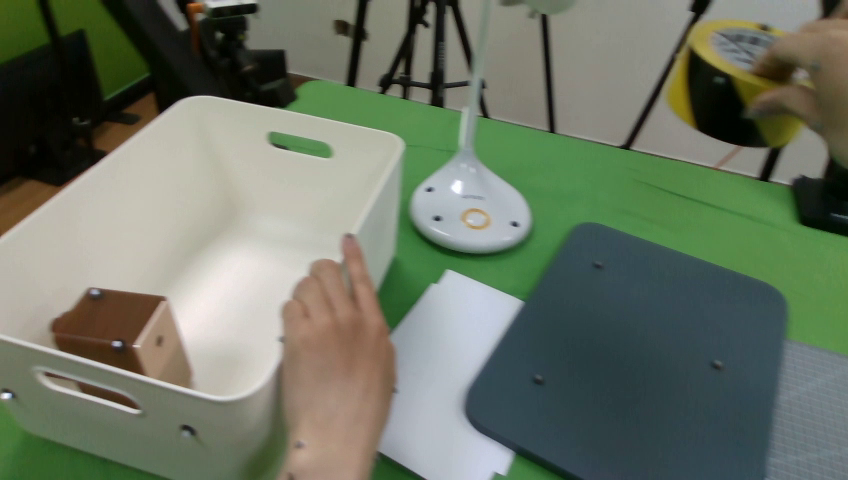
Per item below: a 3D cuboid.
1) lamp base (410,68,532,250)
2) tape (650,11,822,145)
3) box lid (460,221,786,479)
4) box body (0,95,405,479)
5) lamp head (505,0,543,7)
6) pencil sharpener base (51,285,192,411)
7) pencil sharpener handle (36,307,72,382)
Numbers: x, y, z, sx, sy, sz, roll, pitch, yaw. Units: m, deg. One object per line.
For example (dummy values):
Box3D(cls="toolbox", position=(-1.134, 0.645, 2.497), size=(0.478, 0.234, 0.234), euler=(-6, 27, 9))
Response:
Box3D(cls="lamp base", position=(0.064, -0.107, 0.753), size=(0.161, 0.182, 0.177), euler=(-4, 38, -11))
Box3D(cls="tape", position=(0.244, -0.130, 0.479), size=(0.117, 0.053, 0.115), euler=(4, 47, -4))
Box3D(cls="box lid", position=(0.226, 0.112, 0.638), size=(0.261, 0.015, 0.370), euler=(22, 42, 21))
Box3D(cls="box body", position=(-0.188, 0.028, 0.576), size=(0.253, 0.162, 0.361), euler=(13, 40, 9))
Box3D(cls="lamp head", position=(0.106, -0.283, 0.535), size=(0.112, 0.123, 0.112), euler=(-21, 3, 1))
Box3D(cls="pencil sharpener base", position=(-0.255, 0.098, 0.517), size=(0.076, 0.108, 0.061), euler=(7, 40, 4))
Box3D(cls="pencil sharpener handle", position=(-0.306, 0.085, 0.505), size=(0.030, 0.068, 0.036), euler=(7, 9, 4))
